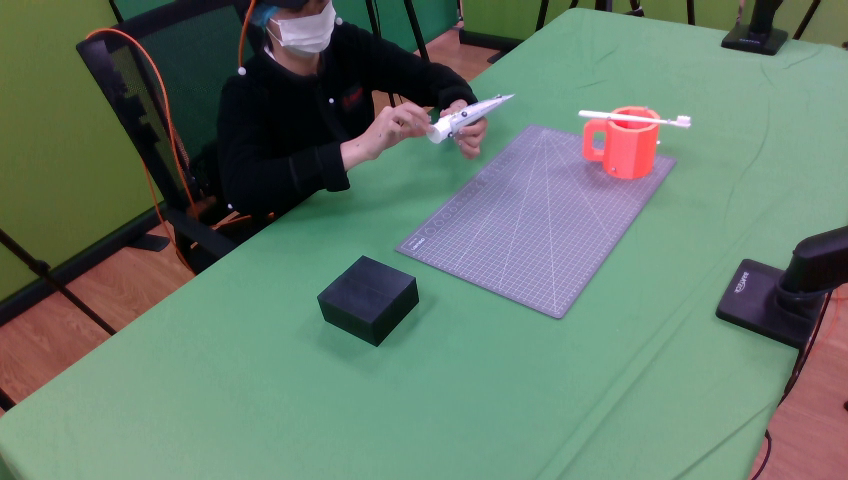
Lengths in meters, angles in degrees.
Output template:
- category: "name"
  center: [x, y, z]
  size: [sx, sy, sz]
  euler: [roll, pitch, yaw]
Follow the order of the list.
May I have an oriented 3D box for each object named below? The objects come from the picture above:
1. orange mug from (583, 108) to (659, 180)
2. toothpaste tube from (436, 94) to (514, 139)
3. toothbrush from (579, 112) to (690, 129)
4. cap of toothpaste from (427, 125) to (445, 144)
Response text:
- category: "orange mug"
  center: [0.343, -0.171, 1.061]
  size: [0.126, 0.101, 0.083]
  euler: [10, 43, 15]
- category: "toothpaste tube"
  center: [0.082, -0.217, 1.042]
  size: [0.166, 0.034, 0.054]
  euler: [-33, 27, -25]
- category: "toothbrush"
  center: [0.352, -0.205, 1.019]
  size: [0.181, 0.017, 0.014]
  euler: [10, 47, 21]
- category: "cap of toothpaste"
  center: [0.019, -0.177, 1.008]
  size: [0.037, 0.037, 0.011]
  euler: [24, 52, 33]
